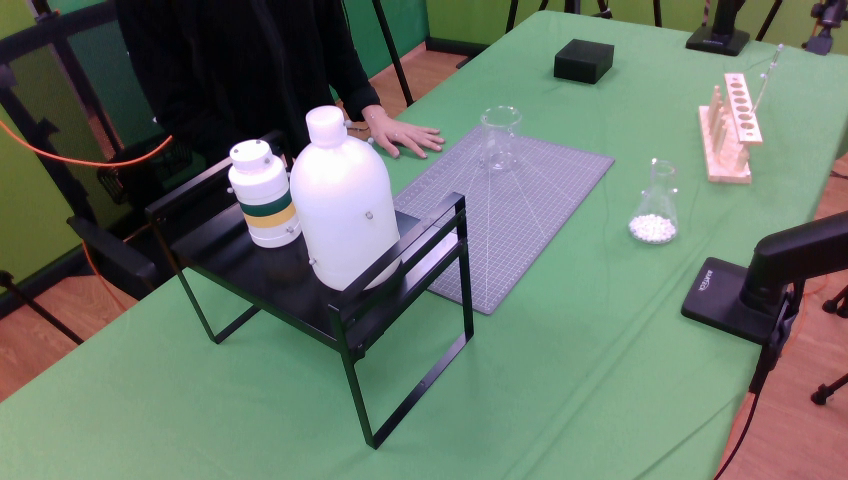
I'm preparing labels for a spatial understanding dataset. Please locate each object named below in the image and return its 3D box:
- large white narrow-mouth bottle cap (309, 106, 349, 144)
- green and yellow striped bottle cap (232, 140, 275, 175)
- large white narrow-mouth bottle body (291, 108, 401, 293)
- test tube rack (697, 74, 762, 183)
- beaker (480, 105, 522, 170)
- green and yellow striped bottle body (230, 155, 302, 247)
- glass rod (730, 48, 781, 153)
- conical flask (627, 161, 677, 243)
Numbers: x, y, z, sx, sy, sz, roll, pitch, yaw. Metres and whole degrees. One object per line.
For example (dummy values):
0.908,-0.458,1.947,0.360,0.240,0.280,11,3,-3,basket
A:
-0.090,-0.110,0.576,0.038,0.024,0.037,-4,39,3,large white narrow-mouth bottle cap
-0.192,-0.094,0.680,0.045,0.020,0.045,-5,39,5,green and yellow striped bottle cap
-0.084,-0.043,0.630,0.102,0.195,0.101,-4,39,4,large white narrow-mouth bottle body
0.547,-0.208,1.095,0.066,0.085,0.242,5,42,15,test tube rack
0.145,-0.187,1.112,0.084,0.101,0.073,-35,48,-29,beaker
-0.188,-0.055,0.714,0.063,0.120,0.063,-4,41,4,green and yellow striped bottle body
0.554,-0.228,1.015,0.008,0.200,0.008,1,44,-1,glass rod
0.355,-0.061,0.921,0.075,0.122,0.075,-4,41,4,conical flask
